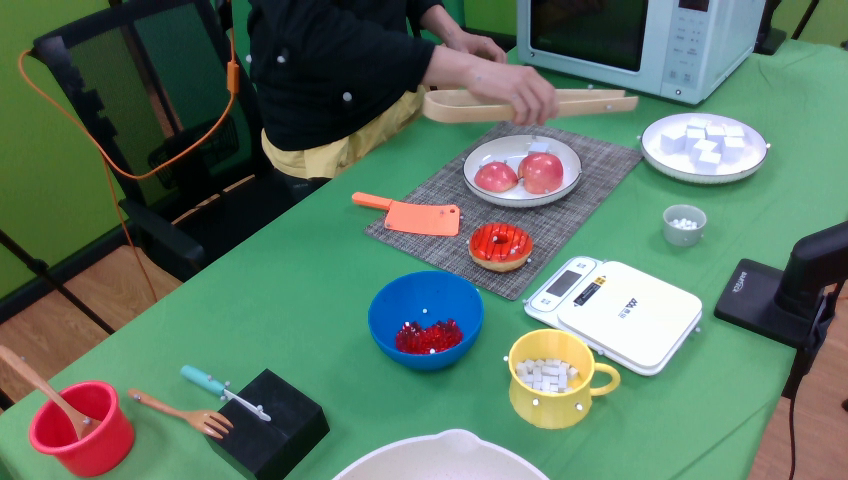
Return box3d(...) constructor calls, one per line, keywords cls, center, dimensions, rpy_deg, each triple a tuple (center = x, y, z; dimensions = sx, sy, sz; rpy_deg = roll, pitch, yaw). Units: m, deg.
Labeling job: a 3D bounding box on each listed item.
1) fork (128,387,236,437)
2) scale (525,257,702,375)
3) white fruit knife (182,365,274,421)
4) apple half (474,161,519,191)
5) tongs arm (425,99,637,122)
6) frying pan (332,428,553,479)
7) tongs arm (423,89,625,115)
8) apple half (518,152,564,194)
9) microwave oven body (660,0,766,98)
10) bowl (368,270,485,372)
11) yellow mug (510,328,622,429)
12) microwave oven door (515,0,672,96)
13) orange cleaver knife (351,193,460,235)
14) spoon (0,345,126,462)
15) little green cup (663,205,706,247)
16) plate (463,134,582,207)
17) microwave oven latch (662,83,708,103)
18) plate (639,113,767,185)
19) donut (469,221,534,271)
box3d(cls="fork", center=(-0.305, 0.207, 0.744), dimensions=(0.206, 0.019, 0.028), rpy_deg=(3, 41, 36))
box3d(cls="scale", center=(0.254, 0.091, 0.821), dimensions=(0.199, 0.032, 0.149), rpy_deg=(28, 51, 35))
box3d(cls="white fruit knife", center=(-0.245, 0.187, 0.747), dimensions=(0.205, 0.027, 0.016), rpy_deg=(9, 41, 41))
box3d(cls="apple half", center=(0.130, -0.119, 1.067), dimensions=(0.081, 0.033, 0.081), rpy_deg=(-4, 37, 3))
box3d(cls="tongs arm", center=(0.182, -0.205, 0.942), dimensions=(0.390, 0.028, 0.028), rpy_deg=(-8, 45, -26))
box3d(cls="frying pan", center=(-0.089, 0.306, 0.564), dimensions=(0.487, 0.103, 0.306), rpy_deg=(10, 41, 7))
box3d(cls="tongs arm", center=(0.173, -0.219, 0.957), dimensions=(0.387, 0.026, 0.050), rpy_deg=(-4, 40, -22))
box3d(cls="apple half", center=(0.204, -0.124, 1.048), dimensions=(0.075, 0.053, 0.080), rpy_deg=(-6, 41, -2))
box3d(cls="microwave oven body", center=(0.472, -0.513, 1.317), dimensions=(0.438, 0.261, 0.327), rpy_deg=(26, 51, 34))
box3d(cls="bowl", center=(0.007, 0.118, 0.791), dimensions=(0.151, 0.077, 0.150), rpy_deg=(-5, 40, 4))
box3d(cls="yellow mug", center=(0.169, 0.164, 0.721), dimensions=(0.130, 0.064, 0.099), rpy_deg=(0, 40, 8))
box3d(cls="microwave oven door", center=(0.344, -0.455, 1.259), dimensions=(0.353, 0.245, 0.039), rpy_deg=(26, 51, 33))
box3d(cls="orange cleaver knife", center=(-0.036, -0.044, 1.029), dimensions=(0.210, 0.012, 0.077), rpy_deg=(10, 48, 18))
box3d(cls="spoon", center=(-0.434, 0.192, 0.720), dimensions=(0.194, 0.021, 0.042), rpy_deg=(47, 53, -6))
box3d(cls="little green cup", center=(0.396, -0.021, 0.926), dimensions=(0.061, 0.039, 0.061), rpy_deg=(-4, 40, 4))
box3d(cls="plate", center=(0.173, -0.119, 1.070), dimensions=(0.209, 0.038, 0.208), rpy_deg=(-4, 40, 4))
box3d(cls="microwave oven latch", center=(0.518, -0.296, 1.204), dimensions=(0.078, 0.029, 0.030), rpy_deg=(28, 52, 35))
box3d(cls="plate", center=(0.489, -0.157, 1.074), dimensions=(0.207, 0.039, 0.206), rpy_deg=(-4, 40, 4))
box3d(cls="donut", center=(0.118, 0.009, 0.923), dimensions=(0.099, 0.048, 0.098), rpy_deg=(-3, 39, 3))
